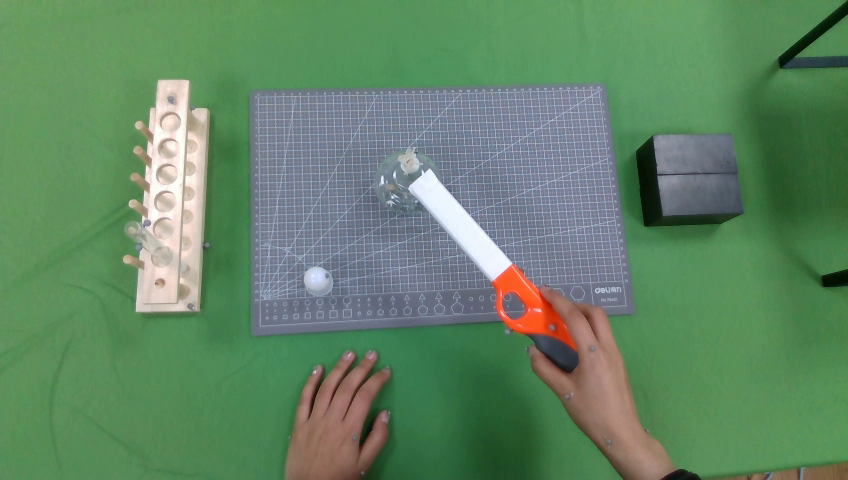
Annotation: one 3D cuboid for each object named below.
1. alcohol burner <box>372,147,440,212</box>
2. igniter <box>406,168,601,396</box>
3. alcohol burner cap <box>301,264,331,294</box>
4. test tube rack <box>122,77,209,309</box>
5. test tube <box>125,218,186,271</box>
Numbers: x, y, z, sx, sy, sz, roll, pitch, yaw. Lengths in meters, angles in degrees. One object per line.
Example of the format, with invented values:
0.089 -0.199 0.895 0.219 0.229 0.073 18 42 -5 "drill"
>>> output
-0.019 -0.072 0.679 0.078 0.119 0.077 1 79 -4 "alcohol burner"
0.082 0.041 0.607 0.057 0.025 0.276 -41 87 -4 "igniter"
-0.123 0.042 0.682 0.034 0.048 0.033 1 78 -5 "alcohol burner cap"
-0.287 -0.049 0.668 0.067 0.085 0.241 0 78 -4 "test tube rack"
-0.266 0.008 0.608 0.017 0.151 0.017 2 73 -6 "test tube"
